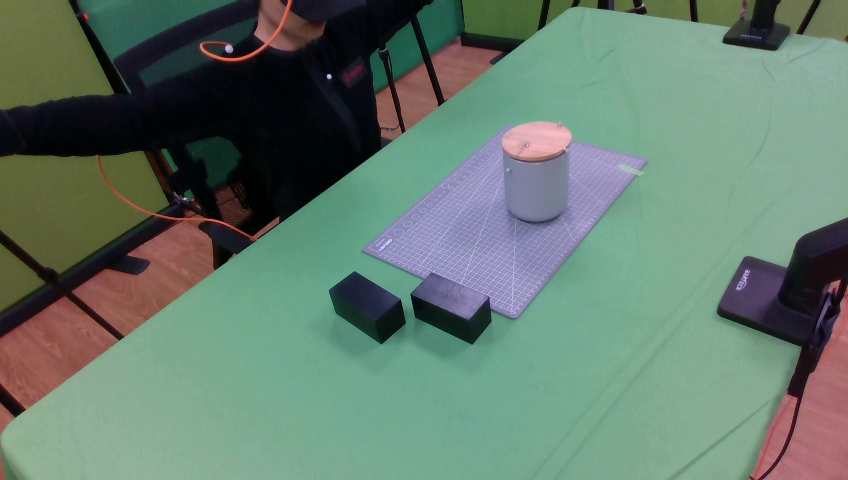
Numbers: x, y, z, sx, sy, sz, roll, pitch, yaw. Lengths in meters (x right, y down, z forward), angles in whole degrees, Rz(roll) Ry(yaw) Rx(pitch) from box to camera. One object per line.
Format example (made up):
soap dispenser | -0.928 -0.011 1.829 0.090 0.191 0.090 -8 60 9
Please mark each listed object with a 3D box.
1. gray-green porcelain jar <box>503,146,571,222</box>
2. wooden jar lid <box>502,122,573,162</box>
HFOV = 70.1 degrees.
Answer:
gray-green porcelain jar | 0.184 -0.102 0.983 0.106 0.127 0.105 -5 40 5
wooden jar lid | 0.176 -0.150 0.940 0.108 0.021 0.108 -6 39 5
